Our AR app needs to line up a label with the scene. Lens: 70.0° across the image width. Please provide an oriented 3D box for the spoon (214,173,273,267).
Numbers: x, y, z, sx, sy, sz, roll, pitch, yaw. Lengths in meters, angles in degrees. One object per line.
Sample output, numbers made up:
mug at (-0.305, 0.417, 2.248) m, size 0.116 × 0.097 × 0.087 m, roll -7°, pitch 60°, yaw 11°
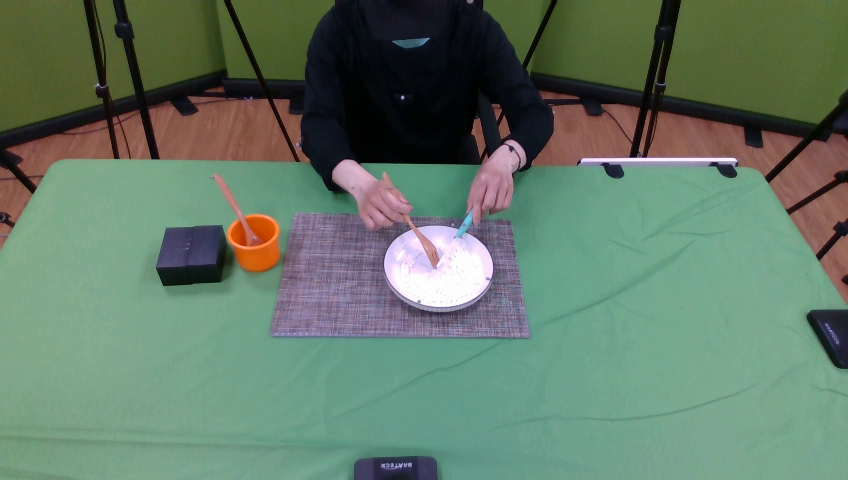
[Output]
spoon at (-0.336, -0.037, 1.121) m, size 0.041 × 0.194 × 0.021 m, roll -29°, pitch 10°, yaw -24°

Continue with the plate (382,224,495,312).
plate at (0.026, 0.055, 1.128) m, size 0.209 × 0.038 × 0.208 m, roll 2°, pitch 46°, yaw -2°

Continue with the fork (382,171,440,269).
fork at (-0.024, -0.037, 1.125) m, size 0.028 × 0.018 × 0.207 m, roll -39°, pitch 100°, yaw -41°

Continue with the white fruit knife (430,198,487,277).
white fruit knife at (0.067, -0.008, 1.164) m, size 0.016 × 0.027 × 0.207 m, roll 27°, pitch 64°, yaw 18°
